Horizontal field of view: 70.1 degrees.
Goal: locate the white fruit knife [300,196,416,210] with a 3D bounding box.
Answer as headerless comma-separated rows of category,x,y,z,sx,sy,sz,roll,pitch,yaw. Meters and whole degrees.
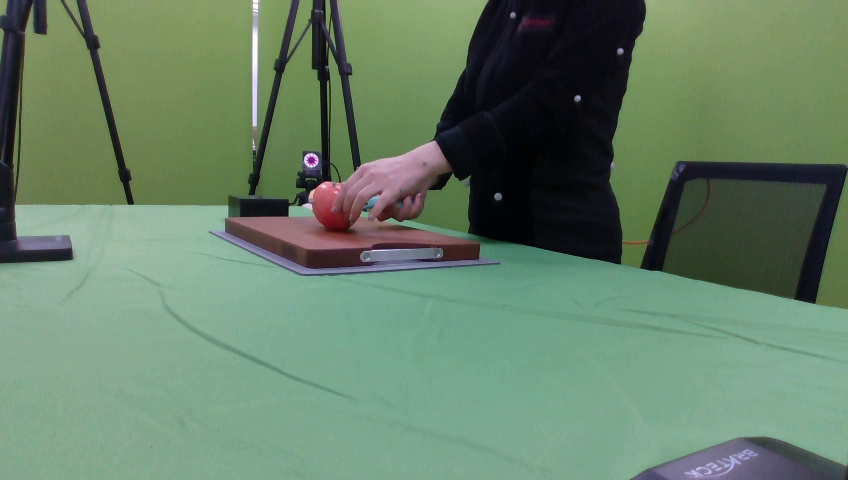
white fruit knife,-0.106,-0.060,1.011,0.208,0.027,0.016,-3,-18,-31

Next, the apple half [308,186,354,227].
apple half,-0.156,-0.051,1.001,0.082,0.081,0.032,-2,-25,-29

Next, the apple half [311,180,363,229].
apple half,-0.130,-0.051,0.942,0.081,0.074,0.053,-2,31,-40
